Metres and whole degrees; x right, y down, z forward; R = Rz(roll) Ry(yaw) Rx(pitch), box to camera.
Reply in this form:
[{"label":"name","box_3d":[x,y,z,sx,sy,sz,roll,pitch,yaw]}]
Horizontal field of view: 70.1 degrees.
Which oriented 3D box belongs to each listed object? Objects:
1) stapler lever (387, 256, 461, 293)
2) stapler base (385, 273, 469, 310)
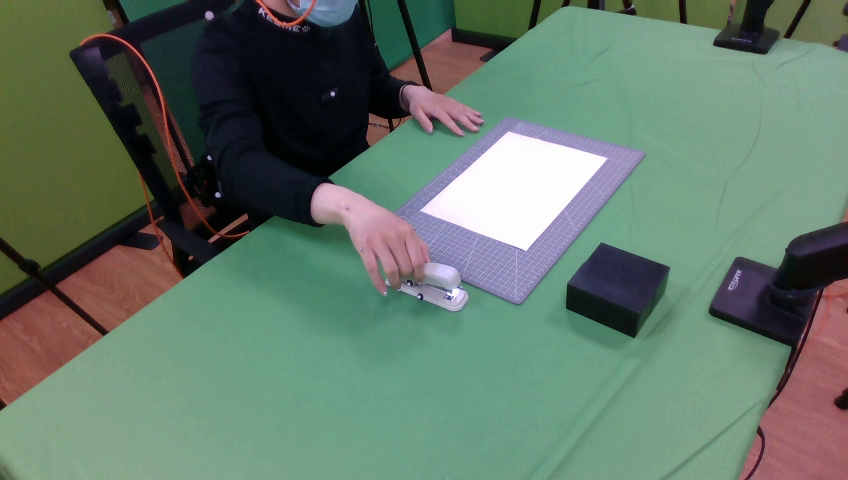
[{"label":"stapler lever","box_3d":[0.000,0.044,0.875,0.117,0.040,0.027,18,44,27]},{"label":"stapler base","box_3d":[0.004,0.064,0.891,0.129,0.024,0.041,18,44,27]}]
